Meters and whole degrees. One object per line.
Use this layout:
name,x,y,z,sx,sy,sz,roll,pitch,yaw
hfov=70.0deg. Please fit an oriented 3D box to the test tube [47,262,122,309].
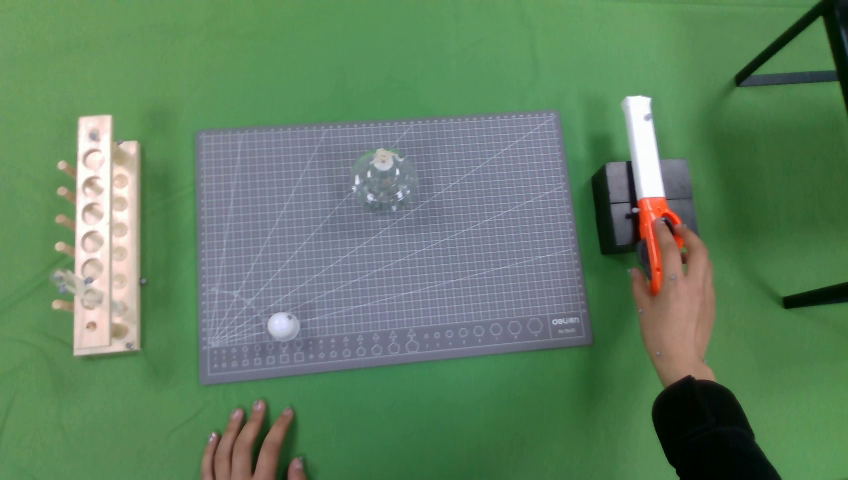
test tube,-0.327,0.048,0.593,0.017,0.151,0.017,2,73,-7

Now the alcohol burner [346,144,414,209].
alcohol burner,-0.049,-0.076,0.678,0.078,0.119,0.077,1,78,-3

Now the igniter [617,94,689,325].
igniter,0.261,-0.039,0.696,0.057,0.025,0.275,-3,75,-9

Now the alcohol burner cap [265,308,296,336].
alcohol burner cap,-0.160,0.089,0.669,0.034,0.048,0.033,1,78,-6

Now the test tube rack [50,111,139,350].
test tube rack,-0.357,-0.008,0.652,0.067,0.085,0.241,-5,78,-6
